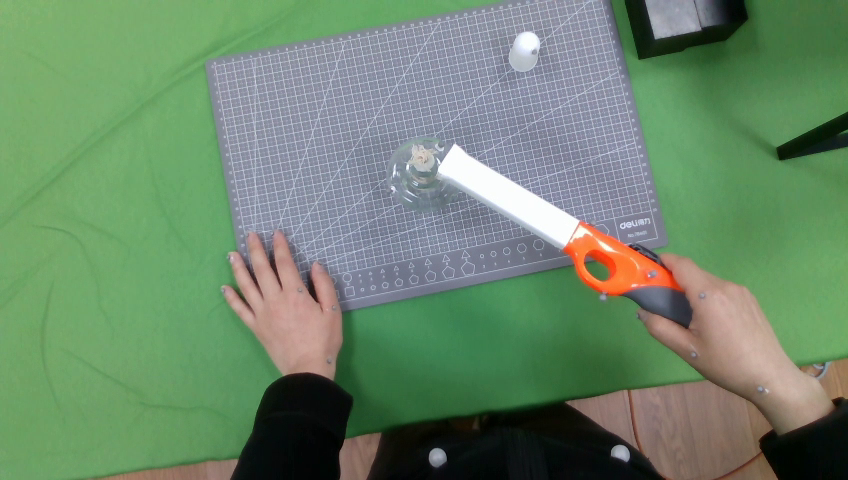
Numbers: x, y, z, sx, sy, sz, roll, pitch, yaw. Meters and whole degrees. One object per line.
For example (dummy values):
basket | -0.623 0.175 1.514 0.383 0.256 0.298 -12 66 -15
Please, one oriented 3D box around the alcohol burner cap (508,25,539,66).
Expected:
alcohol burner cap | 0.107 -0.209 0.643 0.034 0.048 0.034 0 85 2

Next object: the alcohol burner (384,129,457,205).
alcohol burner | -0.002 -0.075 0.595 0.078 0.119 0.077 0 85 2

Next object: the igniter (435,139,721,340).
igniter | 0.133 -0.001 0.518 0.276 0.025 0.057 32 72 3
